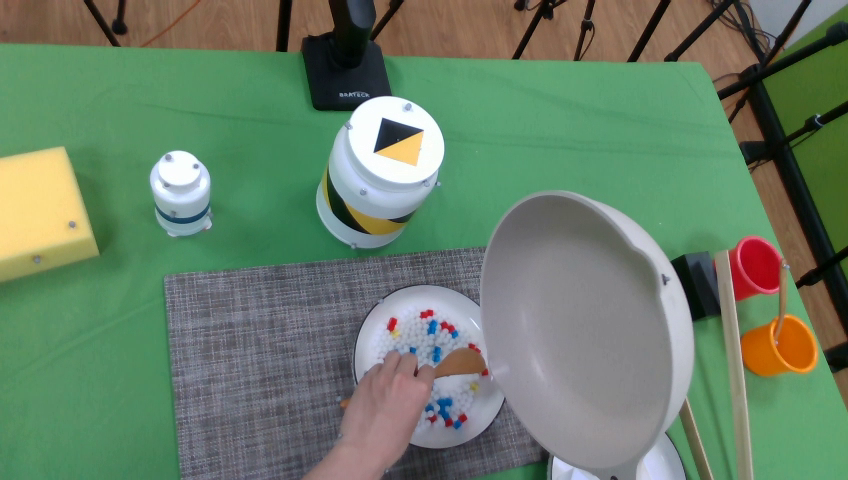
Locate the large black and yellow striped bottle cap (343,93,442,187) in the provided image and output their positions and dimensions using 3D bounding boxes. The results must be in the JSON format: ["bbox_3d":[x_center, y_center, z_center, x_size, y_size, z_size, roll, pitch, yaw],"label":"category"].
[{"bbox_3d":[-0.034,-0.115,0.692,0.115,0.019,0.114,7,68,-18],"label":"large black and yellow striped bottle cap"}]

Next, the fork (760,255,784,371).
[{"bbox_3d":[0.533,0.114,0.923,0.028,0.018,0.209,-20,121,-18],"label":"fork"}]

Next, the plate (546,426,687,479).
[{"bbox_3d":[0.251,0.315,0.802,0.208,0.039,0.206,8,66,-17],"label":"plate"}]

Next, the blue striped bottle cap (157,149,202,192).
[{"bbox_3d":[-0.267,-0.076,0.662,0.045,0.021,0.044,7,64,-15],"label":"blue striped bottle cap"}]

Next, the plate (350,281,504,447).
[{"bbox_3d":[0.005,0.155,0.771,0.210,0.038,0.207,7,67,-17],"label":"plate"}]

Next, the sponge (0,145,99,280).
[{"bbox_3d":[-0.481,-0.017,0.652,0.207,0.061,0.117,-19,77,-26],"label":"sponge"}]

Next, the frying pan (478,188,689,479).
[{"bbox_3d":[0.181,0.180,0.606,0.103,0.308,0.483,-1,64,-23],"label":"frying pan"}]

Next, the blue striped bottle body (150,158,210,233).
[{"bbox_3d":[-0.283,-0.058,0.708,0.063,0.121,0.062,7,67,-17],"label":"blue striped bottle body"}]

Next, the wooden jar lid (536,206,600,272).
[{"bbox_3d":[0.218,0.000,0.927,0.109,0.021,0.107,7,68,-17],"label":"wooden jar lid"}]

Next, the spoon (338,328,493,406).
[{"bbox_3d":[-0.006,0.145,0.682,0.194,0.022,0.041,-23,56,-19],"label":"spoon"}]

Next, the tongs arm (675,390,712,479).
[{"bbox_3d":[0.370,0.206,0.858,0.051,0.026,0.383,-11,83,-25],"label":"tongs arm"}]

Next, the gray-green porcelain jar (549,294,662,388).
[{"bbox_3d":[0.236,0.141,0.816,0.106,0.127,0.105,7,66,-17],"label":"gray-green porcelain jar"}]

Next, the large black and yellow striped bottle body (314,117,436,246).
[{"bbox_3d":[-0.061,-0.083,0.765,0.131,0.184,0.130,8,66,-17],"label":"large black and yellow striped bottle body"}]

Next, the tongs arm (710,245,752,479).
[{"bbox_3d":[0.448,0.199,0.890,0.028,0.027,0.385,5,77,-25],"label":"tongs arm"}]
